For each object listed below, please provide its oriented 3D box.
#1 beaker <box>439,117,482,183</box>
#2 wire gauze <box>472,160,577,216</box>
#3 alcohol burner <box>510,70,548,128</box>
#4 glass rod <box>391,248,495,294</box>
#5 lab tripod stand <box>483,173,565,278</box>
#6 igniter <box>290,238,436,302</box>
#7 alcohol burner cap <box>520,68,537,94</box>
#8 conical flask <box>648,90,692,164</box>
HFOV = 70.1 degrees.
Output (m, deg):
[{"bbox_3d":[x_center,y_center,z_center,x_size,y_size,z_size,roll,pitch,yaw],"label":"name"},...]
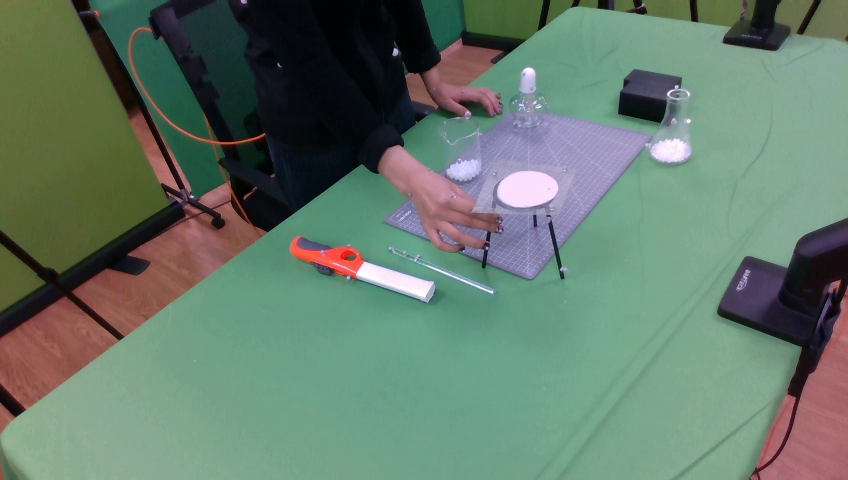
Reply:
[{"bbox_3d":[0.068,-0.160,1.097,0.073,0.101,0.084,7,43,19],"label":"beaker"},{"bbox_3d":[0.143,-0.073,0.850,0.121,0.011,0.125,8,43,21],"label":"wire gauze"},{"bbox_3d":[0.209,-0.287,1.208,0.078,0.119,0.077,-5,42,5],"label":"alcohol burner"},{"bbox_3d":[0.026,0.045,0.936,0.198,0.008,0.008,21,49,32],"label":"glass rod"},{"bbox_3d":[0.151,-0.025,0.896,0.148,0.132,0.147,-7,40,6],"label":"lab tripod stand"},{"bbox_3d":[-0.106,0.043,0.949,0.274,0.025,0.057,16,57,27],"label":"igniter"},{"bbox_3d":[0.205,-0.313,1.183,0.034,0.048,0.033,-3,50,4],"label":"alcohol burner cap"},{"bbox_3d":[0.437,-0.199,1.057,0.075,0.122,0.075,-5,40,5],"label":"conical flask"}]
